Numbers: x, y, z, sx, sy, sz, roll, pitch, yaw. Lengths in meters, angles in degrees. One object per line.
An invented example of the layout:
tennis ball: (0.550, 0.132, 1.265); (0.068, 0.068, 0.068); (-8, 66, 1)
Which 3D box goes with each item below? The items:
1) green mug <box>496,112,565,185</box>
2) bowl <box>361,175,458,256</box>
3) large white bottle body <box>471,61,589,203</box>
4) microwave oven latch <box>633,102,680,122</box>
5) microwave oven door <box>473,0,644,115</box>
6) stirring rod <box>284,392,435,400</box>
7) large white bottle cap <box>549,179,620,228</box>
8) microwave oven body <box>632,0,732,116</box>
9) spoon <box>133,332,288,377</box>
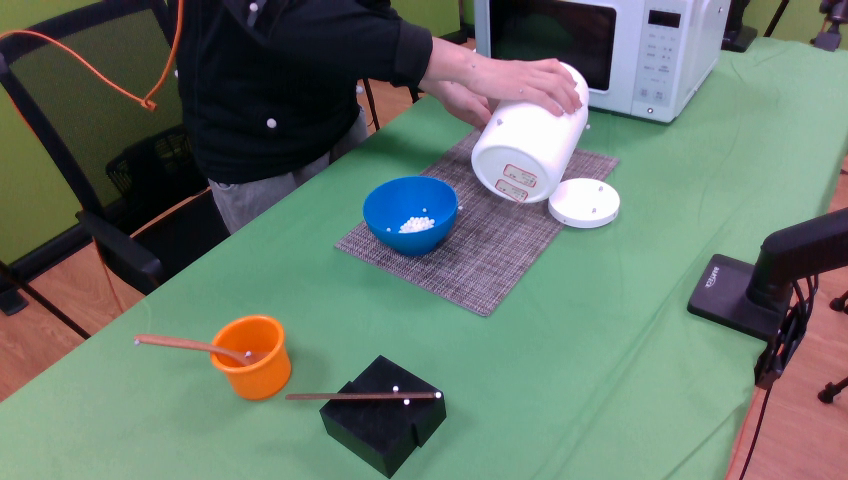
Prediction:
green mug: (0.185, -0.161, 1.061); (0.124, 0.105, 0.092); (15, 46, 25)
bowl: (-0.019, -0.028, 0.955); (0.151, 0.077, 0.150); (-4, 40, 3)
large white bottle body: (0.161, -0.160, 0.885); (0.130, 0.131, 0.184); (15, 59, 25)
microwave oven latch: (0.444, -0.249, 1.157); (0.078, 0.029, 0.030); (21, 49, 30)
microwave oven door: (0.257, -0.396, 1.199); (0.353, 0.245, 0.039); (21, 48, 29)
stirring rod: (-0.075, 0.180, 0.698); (0.176, 0.006, 0.014); (-2, 6, 7)
large white bottle cap: (0.265, -0.062, 1.001); (0.115, 0.018, 0.114); (-4, 41, 4)
microwave oven body: (0.377, -0.462, 1.267); (0.438, 0.261, 0.327); (21, 48, 30)
spoon: (-0.257, 0.137, 0.747); (0.021, 0.195, 0.041); (-46, 40, 23)
